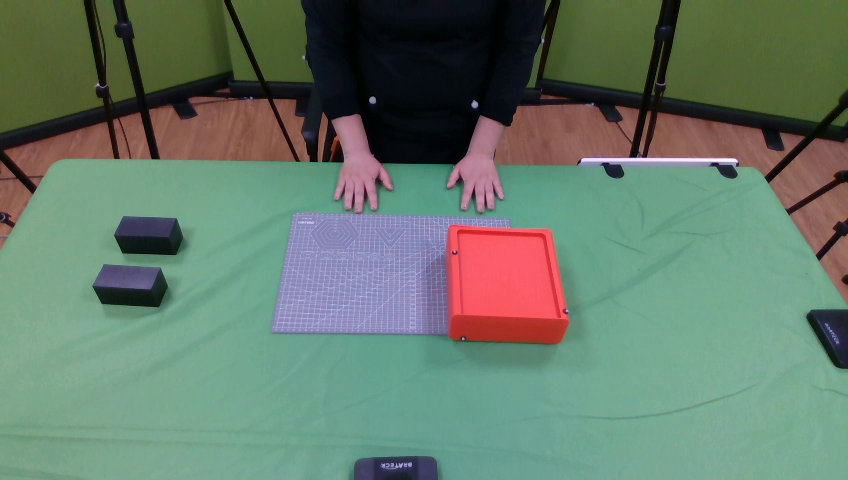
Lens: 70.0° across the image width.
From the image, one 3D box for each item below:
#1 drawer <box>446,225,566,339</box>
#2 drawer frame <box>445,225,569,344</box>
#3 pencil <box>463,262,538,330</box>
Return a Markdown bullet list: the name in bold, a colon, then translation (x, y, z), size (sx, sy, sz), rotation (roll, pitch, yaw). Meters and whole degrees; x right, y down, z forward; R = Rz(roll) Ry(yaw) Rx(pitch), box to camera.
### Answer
- **drawer**: translation (0.140, 0.073, 1.094), size (0.194, 0.073, 0.210), rotation (3, 47, -3)
- **drawer frame**: translation (0.141, 0.076, 1.089), size (0.202, 0.083, 0.212), rotation (3, 47, -4)
- **pencil**: translation (0.135, 0.098, 1.098), size (0.012, 0.012, 0.193), rotation (-28, 54, -28)
